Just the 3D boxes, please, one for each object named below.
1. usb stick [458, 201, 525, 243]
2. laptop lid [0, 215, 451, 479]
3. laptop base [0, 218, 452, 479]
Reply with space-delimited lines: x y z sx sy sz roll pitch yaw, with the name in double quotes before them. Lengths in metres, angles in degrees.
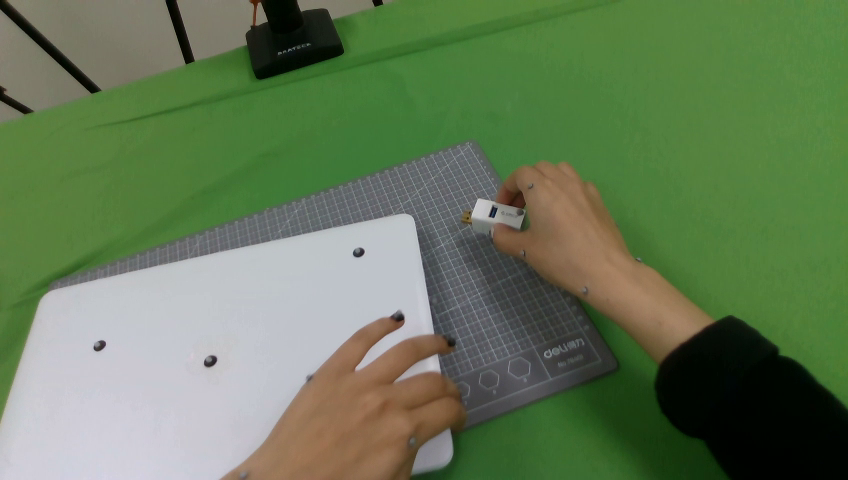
"usb stick" 0.056 -0.017 0.523 0.059 0.027 0.021 11 65 21
"laptop lid" -0.167 0.100 0.480 0.357 0.013 0.239 -11 50 3
"laptop base" -0.166 0.106 0.491 0.354 0.023 0.233 -12 51 2
